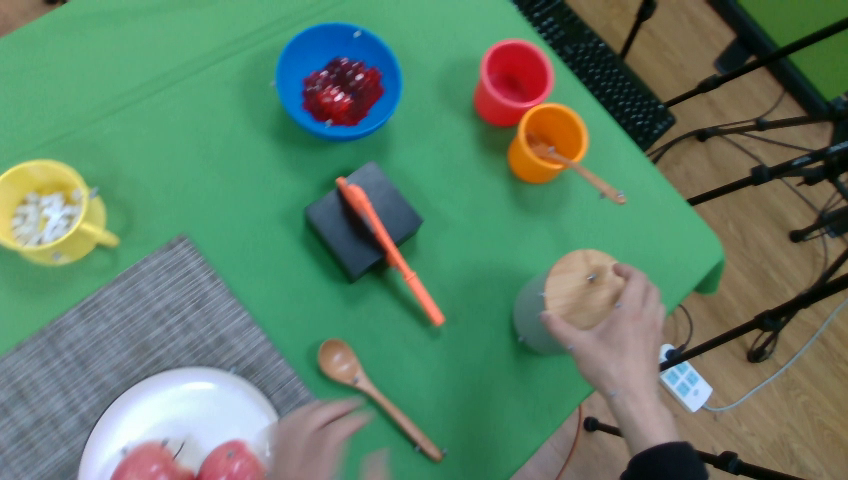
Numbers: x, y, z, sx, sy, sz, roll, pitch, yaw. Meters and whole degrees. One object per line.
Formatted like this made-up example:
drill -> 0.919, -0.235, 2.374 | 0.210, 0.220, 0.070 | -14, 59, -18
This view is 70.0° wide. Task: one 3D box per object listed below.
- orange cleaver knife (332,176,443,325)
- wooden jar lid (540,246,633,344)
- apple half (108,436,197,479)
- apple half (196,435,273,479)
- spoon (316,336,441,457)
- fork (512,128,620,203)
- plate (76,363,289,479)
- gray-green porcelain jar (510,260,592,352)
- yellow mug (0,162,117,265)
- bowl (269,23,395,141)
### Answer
orange cleaver knife -> -0.044, 0.013, 0.720 | 0.012, 0.076, 0.212 | -37, 108, -14
wooden jar lid -> 0.175, 0.061, 0.662 | 0.109, 0.021, 0.108 | 3, 76, -12
apple half -> -0.281, 0.245, 0.615 | 0.074, 0.053, 0.080 | -42, 86, -16
apple half -> -0.203, 0.250, 0.638 | 0.081, 0.033, 0.081 | 3, 73, -8
spoon -> -0.051, 0.185, 0.704 | 0.193, 0.022, 0.041 | 42, 51, 2
fork -> 0.173, -0.096, 0.756 | 0.028, 0.019, 0.205 | -17, 35, -20
plate -> -0.249, 0.236, 0.640 | 0.210, 0.038, 0.208 | 3, 75, -11
gray-green porcelain jar -> 0.165, 0.078, 0.721 | 0.106, 0.127, 0.105 | 3, 74, -10
yellow mug -> -0.404, -0.022, 0.668 | 0.131, 0.064, 0.099 | 22, 72, -5
bowl -> -0.115, -0.184, 0.761 | 0.152, 0.077, 0.150 | 3, 75, -10
